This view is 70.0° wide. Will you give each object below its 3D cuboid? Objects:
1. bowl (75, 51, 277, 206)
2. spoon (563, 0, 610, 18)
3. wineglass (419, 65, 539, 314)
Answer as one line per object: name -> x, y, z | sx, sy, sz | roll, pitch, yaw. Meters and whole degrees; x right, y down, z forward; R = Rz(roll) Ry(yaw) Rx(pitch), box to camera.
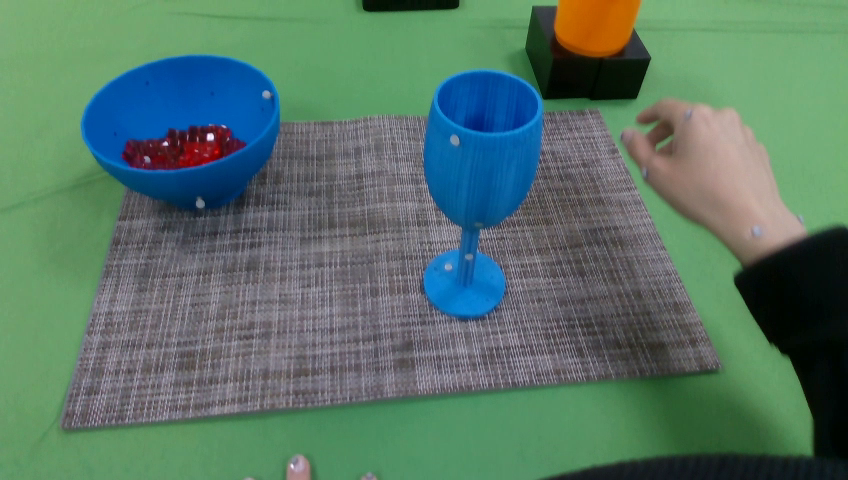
bowl -> -0.194, -0.082, 0.504 | 0.151, 0.077, 0.150 | 2, 50, -2
spoon -> 0.175, -0.231, 0.546 | 0.042, 0.193, 0.021 | -6, 94, -8
wineglass -> 0.031, -0.025, 0.407 | 0.074, 0.174, 0.073 | 1, 50, -1
